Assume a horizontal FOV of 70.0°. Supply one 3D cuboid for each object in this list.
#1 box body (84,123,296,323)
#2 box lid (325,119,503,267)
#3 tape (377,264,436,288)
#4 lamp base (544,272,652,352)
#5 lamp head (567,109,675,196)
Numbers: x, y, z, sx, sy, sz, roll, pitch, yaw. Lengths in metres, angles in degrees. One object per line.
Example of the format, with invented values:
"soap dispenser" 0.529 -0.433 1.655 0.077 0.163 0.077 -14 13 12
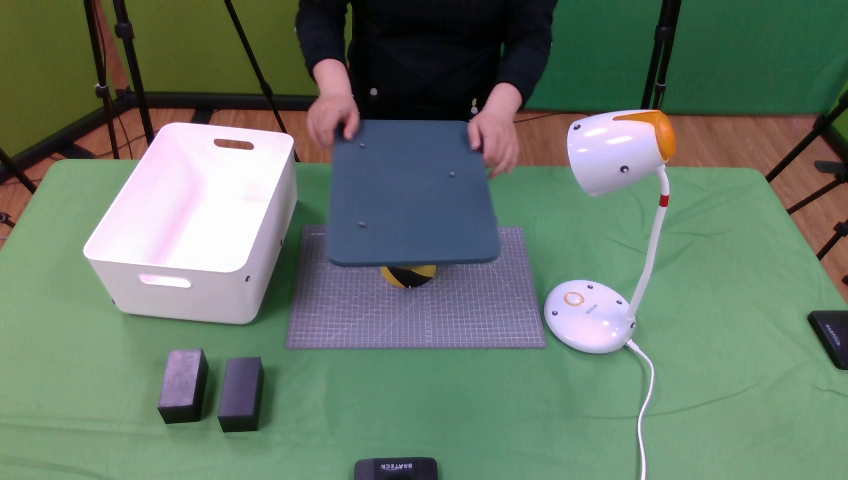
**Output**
"box body" -0.393 -0.035 1.104 0.254 0.161 0.362 5 46 1
"box lid" -0.022 -0.091 0.996 0.263 0.015 0.369 -2 44 -3
"tape" -0.031 0.032 1.141 0.117 0.053 0.116 2 46 -1
"lamp base" 0.310 0.086 1.029 0.178 0.181 0.160 32 52 21
"lamp head" 0.272 -0.123 0.818 0.122 0.113 0.112 -9 35 37
